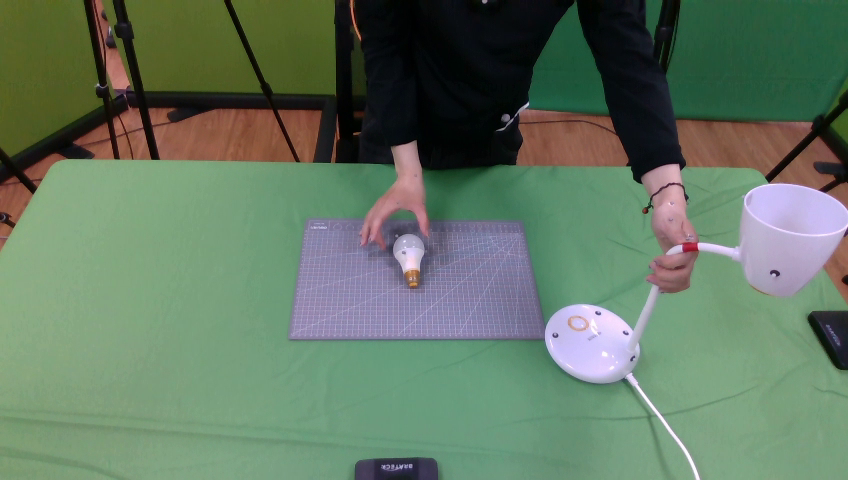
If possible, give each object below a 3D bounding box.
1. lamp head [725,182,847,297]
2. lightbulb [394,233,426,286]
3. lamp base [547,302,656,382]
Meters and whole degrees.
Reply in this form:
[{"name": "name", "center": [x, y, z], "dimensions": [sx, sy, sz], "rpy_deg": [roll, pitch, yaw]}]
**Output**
[{"name": "lamp head", "center": [0.427, 0.006, 0.725], "dimensions": [0.112, 0.123, 0.111], "rpy_deg": [0, 39, 0]}, {"name": "lightbulb", "center": [-0.024, 0.037, 1.134], "dimensions": [0.059, 0.060, 0.107], "rpy_deg": [-4, 62, -7]}, {"name": "lamp base", "center": [0.304, 0.127, 0.982], "dimensions": [0.160, 0.181, 0.178], "rpy_deg": [-33, 59, -29]}]
